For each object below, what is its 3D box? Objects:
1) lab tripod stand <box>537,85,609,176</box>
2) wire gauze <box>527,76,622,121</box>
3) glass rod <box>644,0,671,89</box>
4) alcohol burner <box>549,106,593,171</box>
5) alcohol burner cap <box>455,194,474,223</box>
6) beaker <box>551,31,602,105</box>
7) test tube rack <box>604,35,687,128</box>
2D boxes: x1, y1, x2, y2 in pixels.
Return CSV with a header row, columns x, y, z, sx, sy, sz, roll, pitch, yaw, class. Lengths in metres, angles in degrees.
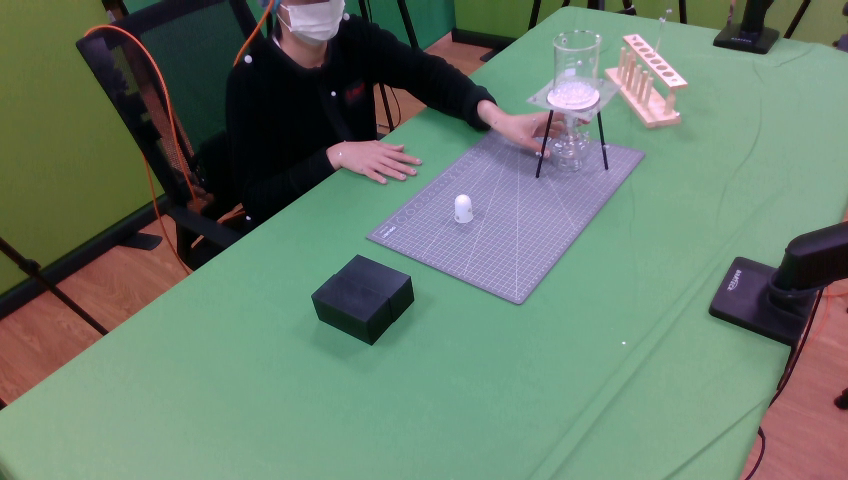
x,y,z,sx,sy,sz,roll,pitch,yaw,class
0.259,-0.192,1.068,0.148,0.132,0.147,-4,43,4,lab tripod stand
0.255,-0.247,1.030,0.124,0.011,0.122,23,49,34,wire gauze
0.463,-0.387,1.204,0.008,0.200,0.008,0,47,1,glass rod
0.260,-0.183,1.073,0.078,0.120,0.077,-6,41,6,alcohol burner
0.066,-0.054,1.006,0.034,0.048,0.033,-5,40,5,alcohol burner cap
0.252,-0.282,0.998,0.084,0.101,0.073,-16,42,-7,beaker
0.447,-0.330,1.241,0.067,0.085,0.241,-9,41,-2,test tube rack
